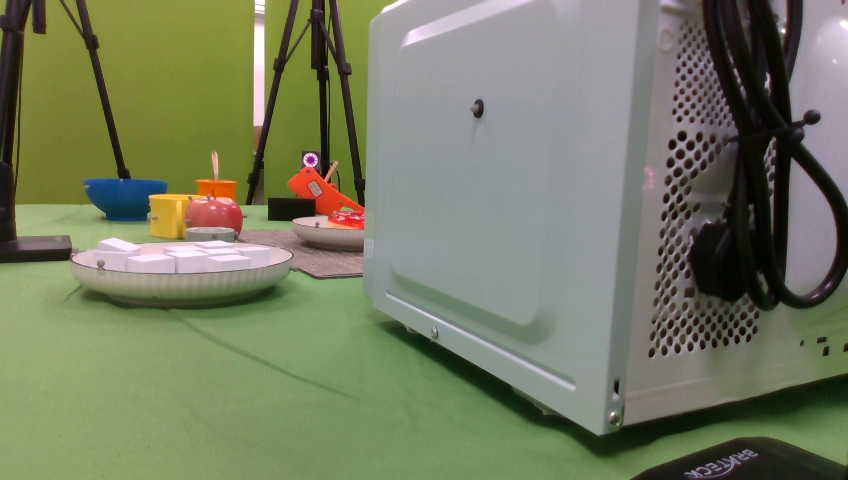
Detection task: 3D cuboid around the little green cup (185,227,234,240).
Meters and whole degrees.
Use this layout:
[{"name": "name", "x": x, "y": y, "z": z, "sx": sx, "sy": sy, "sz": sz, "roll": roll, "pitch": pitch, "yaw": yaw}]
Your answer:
[{"name": "little green cup", "x": -0.285, "y": 0.005, "z": 0.805, "sx": 0.061, "sy": 0.038, "sz": 0.061, "roll": 2, "pitch": 8, "yaw": 0}]

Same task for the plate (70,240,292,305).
[{"name": "plate", "x": -0.242, "y": 0.031, "z": 0.618, "sx": 0.208, "sy": 0.039, "sz": 0.207, "roll": 2, "pitch": 8, "yaw": 0}]

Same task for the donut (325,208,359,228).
[{"name": "donut", "x": -0.110, "y": -0.025, "z": 0.974, "sx": 0.099, "sy": 0.048, "sz": 0.099, "roll": 4, "pitch": 7, "yaw": 0}]

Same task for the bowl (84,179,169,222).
[{"name": "bowl", "x": -0.584, "y": -0.078, "z": 1.194, "sx": 0.151, "sy": 0.077, "sz": 0.151, "roll": 3, "pitch": 8, "yaw": 0}]

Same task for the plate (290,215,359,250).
[{"name": "plate", "x": -0.110, "y": -0.013, "z": 0.973, "sx": 0.209, "sy": 0.038, "sz": 0.209, "roll": 2, "pitch": 8, "yaw": 0}]

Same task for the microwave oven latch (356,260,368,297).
[{"name": "microwave oven latch", "x": -0.020, "y": 0.033, "z": 0.531, "sx": 0.079, "sy": 0.029, "sz": 0.030, "roll": -1, "pitch": 7, "yaw": -27}]

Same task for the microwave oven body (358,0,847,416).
[{"name": "microwave oven body", "x": 0.211, "y": -0.047, "z": 0.475, "sx": 0.444, "sy": 0.260, "sz": 0.324, "roll": -1, "pitch": 8, "yaw": -28}]

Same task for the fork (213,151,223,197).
[{"name": "fork", "x": -0.494, "y": -0.143, "z": 1.442, "sx": 0.028, "sy": 0.018, "sz": 0.206, "roll": -2, "pitch": 52, "yaw": -20}]

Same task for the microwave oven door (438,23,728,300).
[{"name": "microwave oven door", "x": 0.181, "y": -0.072, "z": 0.621, "sx": 0.358, "sy": 0.243, "sz": 0.039, "roll": -2, "pitch": 8, "yaw": -29}]

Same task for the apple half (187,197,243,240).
[{"name": "apple half", "x": -0.305, "y": -0.026, "z": 0.907, "sx": 0.053, "sy": 0.074, "sz": 0.081, "roll": 12, "pitch": 8, "yaw": 31}]

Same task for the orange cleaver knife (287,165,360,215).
[{"name": "orange cleaver knife", "x": -0.211, "y": -0.093, "z": 1.382, "sx": 0.212, "sy": 0.077, "sz": 0.012, "roll": 33, "pitch": 1, "yaw": -15}]

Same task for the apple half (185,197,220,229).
[{"name": "apple half", "x": -0.338, "y": -0.031, "z": 0.927, "sx": 0.032, "sy": 0.081, "sz": 0.081, "roll": 12, "pitch": 12, "yaw": 31}]

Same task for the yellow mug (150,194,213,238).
[{"name": "yellow mug", "x": -0.401, "y": -0.040, "z": 1.003, "sx": 0.100, "sy": 0.064, "sz": 0.130, "roll": -1, "pitch": 9, "yaw": -20}]

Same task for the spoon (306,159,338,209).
[{"name": "spoon", "x": -0.257, "y": -0.147, "z": 1.567, "sx": 0.041, "sy": 0.022, "sz": 0.193, "roll": 2, "pitch": 50, "yaw": 20}]
